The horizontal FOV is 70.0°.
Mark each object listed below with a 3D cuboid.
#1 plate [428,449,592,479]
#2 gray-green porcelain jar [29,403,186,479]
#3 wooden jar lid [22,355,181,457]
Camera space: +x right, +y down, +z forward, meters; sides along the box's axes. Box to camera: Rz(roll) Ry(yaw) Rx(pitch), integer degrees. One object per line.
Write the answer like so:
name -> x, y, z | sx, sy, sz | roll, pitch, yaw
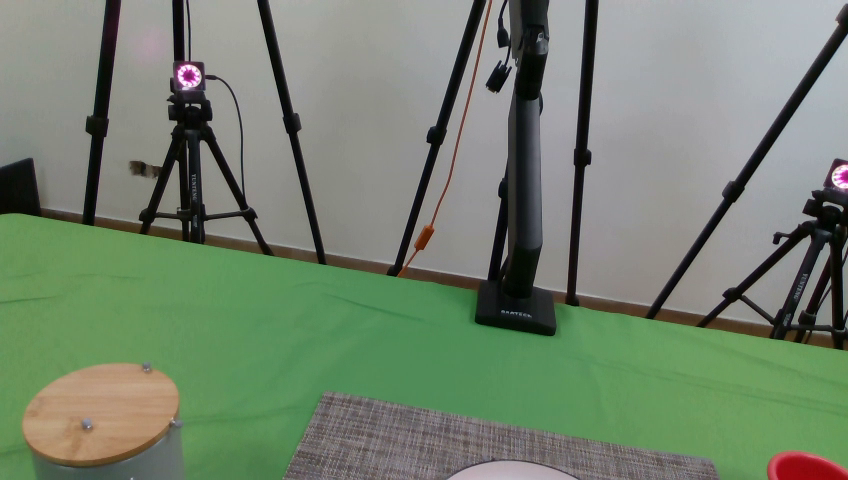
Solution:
plate -> 0.086, 0.270, 0.519 | 0.208, 0.039, 0.206 | 6, 26, -3
gray-green porcelain jar -> -0.255, 0.188, 0.500 | 0.106, 0.127, 0.105 | 7, 26, -3
wooden jar lid -> -0.248, 0.130, 0.472 | 0.108, 0.021, 0.107 | 9, 26, -4
